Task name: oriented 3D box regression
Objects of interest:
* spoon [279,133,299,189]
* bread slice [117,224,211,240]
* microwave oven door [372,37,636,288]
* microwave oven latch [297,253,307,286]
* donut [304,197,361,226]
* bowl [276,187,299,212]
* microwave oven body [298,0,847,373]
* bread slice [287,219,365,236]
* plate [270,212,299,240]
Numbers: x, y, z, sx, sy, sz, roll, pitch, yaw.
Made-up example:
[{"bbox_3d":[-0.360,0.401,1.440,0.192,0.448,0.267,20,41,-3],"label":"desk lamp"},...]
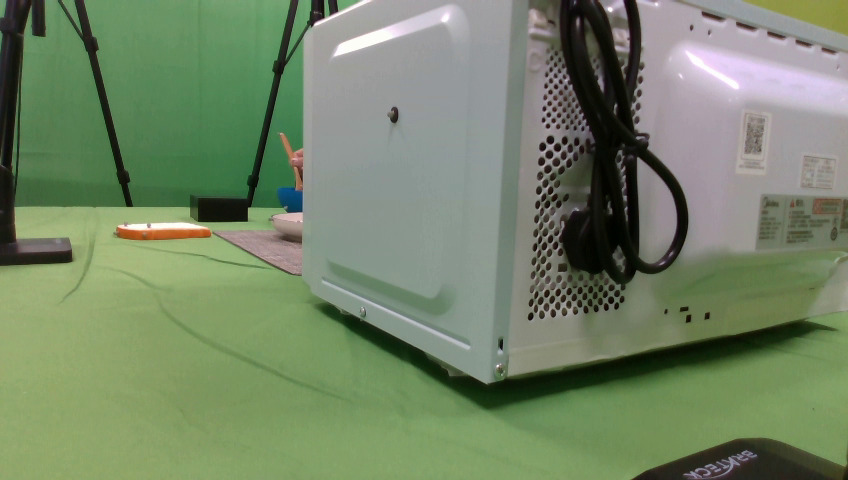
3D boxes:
[{"bbox_3d":[-0.287,-0.156,1.345,0.042,0.193,0.021,-9,-15,-41],"label":"spoon"},{"bbox_3d":[-0.443,-0.015,1.023,0.132,0.019,0.104,-3,8,-45],"label":"bread slice"},{"bbox_3d":[0.109,-0.080,0.686,0.358,0.243,0.039,-2,9,-33],"label":"microwave oven door"},{"bbox_3d":[-0.082,0.027,0.582,0.079,0.029,0.030,-1,7,-32],"label":"microwave oven latch"},{"bbox_3d":[-0.159,-0.050,1.055,0.099,0.048,0.099,3,8,0],"label":"donut"},{"bbox_3d":[-0.241,-0.072,1.302,0.151,0.077,0.151,2,6,0],"label":"bowl"},{"bbox_3d":[0.151,-0.055,0.542,0.444,0.260,0.324,-1,7,-33],"label":"microwave oven body"},{"bbox_3d":[-0.170,-0.022,1.056,0.134,0.018,0.107,2,7,-6],"label":"bread slice"},{"bbox_3d":[-0.162,-0.022,1.058,0.208,0.039,0.207,2,7,0],"label":"plate"}]
